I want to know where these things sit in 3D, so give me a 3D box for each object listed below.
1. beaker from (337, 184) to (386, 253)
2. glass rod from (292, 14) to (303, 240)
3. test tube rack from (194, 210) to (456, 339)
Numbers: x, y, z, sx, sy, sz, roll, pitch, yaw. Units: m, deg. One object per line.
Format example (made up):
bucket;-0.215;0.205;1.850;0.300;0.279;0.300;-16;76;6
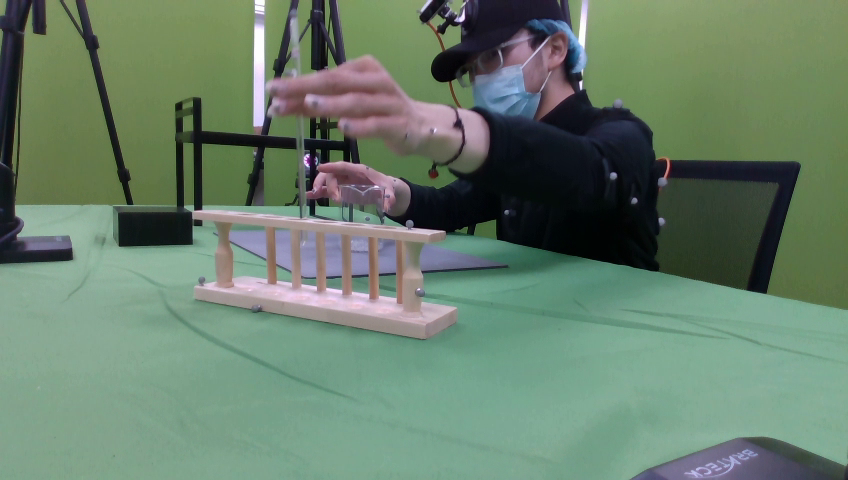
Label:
beaker;-0.096;-0.033;0.916;0.074;0.100;0.084;1;8;-8
glass rod;-0.111;-0.099;0.532;0.008;0.199;0.008;-1;0;0
test tube rack;-0.093;0.023;0.545;0.241;0.085;0.067;6;8;25
